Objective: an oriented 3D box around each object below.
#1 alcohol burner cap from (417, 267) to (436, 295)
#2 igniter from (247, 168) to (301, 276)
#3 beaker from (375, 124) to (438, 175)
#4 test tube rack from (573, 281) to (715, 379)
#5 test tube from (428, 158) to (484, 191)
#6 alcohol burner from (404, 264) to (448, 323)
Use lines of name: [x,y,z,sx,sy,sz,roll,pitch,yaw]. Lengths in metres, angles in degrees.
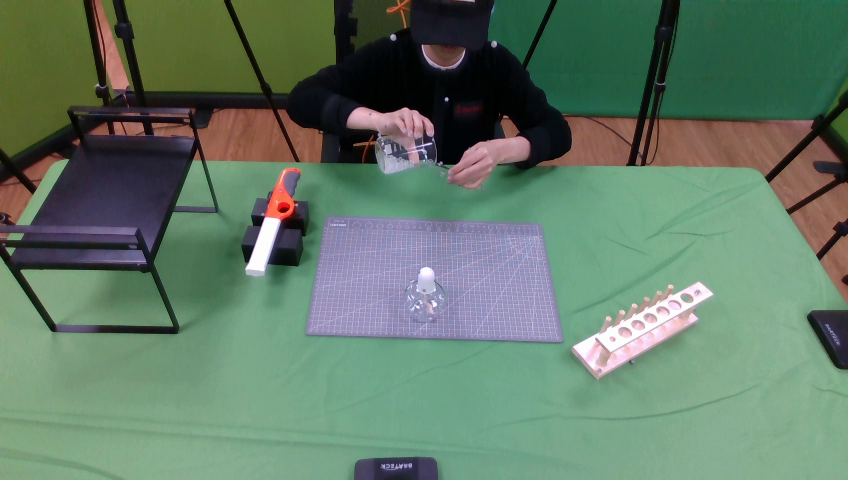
alcohol burner cap: [0.004,0.066,1.019,0.034,0.048,0.033,0,47,1]
igniter: [-0.282,-0.043,1.149,0.057,0.025,0.275,8,48,-1]
beaker: [-0.035,-0.162,1.116,0.100,0.084,0.073,-15,42,-13]
test tube rack: [0.378,0.140,1.038,0.242,0.085,0.066,-22,51,-23]
test tube: [0.066,-0.127,1.198,0.151,0.017,0.017,21,33,-38]
alcohol burner: [0.003,0.087,1.042,0.078,0.120,0.077,1,45,0]
